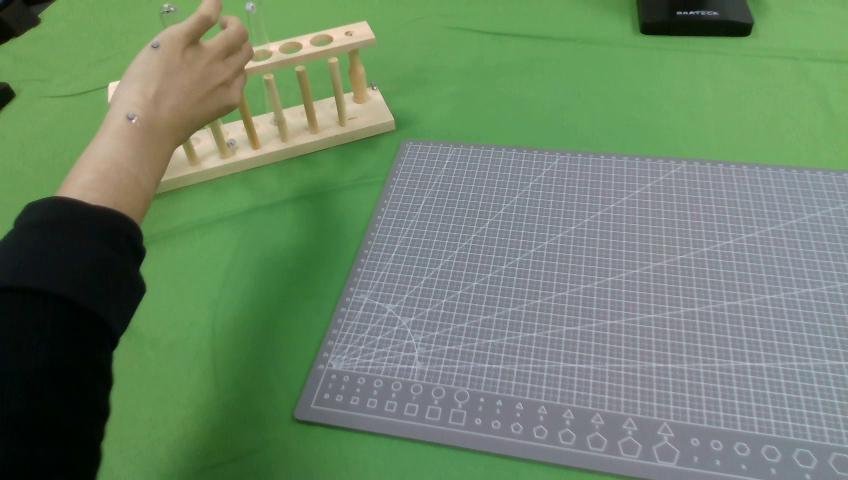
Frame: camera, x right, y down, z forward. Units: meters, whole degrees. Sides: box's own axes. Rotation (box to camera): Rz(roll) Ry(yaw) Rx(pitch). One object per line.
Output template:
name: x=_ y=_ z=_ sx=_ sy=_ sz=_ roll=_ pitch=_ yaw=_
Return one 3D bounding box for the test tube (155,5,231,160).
test tube: x=-0.198 y=-0.131 z=0.526 sx=0.017 sy=0.152 sz=0.017 roll=-3 pitch=47 yaw=3

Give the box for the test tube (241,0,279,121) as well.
test tube: x=-0.152 y=-0.178 z=0.556 sx=0.017 sy=0.151 sz=0.017 roll=0 pitch=40 yaw=1

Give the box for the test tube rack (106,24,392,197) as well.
test tube rack: x=-0.159 y=-0.125 z=0.577 sx=0.243 sy=0.086 sz=0.066 roll=-17 pitch=48 yaw=-10
